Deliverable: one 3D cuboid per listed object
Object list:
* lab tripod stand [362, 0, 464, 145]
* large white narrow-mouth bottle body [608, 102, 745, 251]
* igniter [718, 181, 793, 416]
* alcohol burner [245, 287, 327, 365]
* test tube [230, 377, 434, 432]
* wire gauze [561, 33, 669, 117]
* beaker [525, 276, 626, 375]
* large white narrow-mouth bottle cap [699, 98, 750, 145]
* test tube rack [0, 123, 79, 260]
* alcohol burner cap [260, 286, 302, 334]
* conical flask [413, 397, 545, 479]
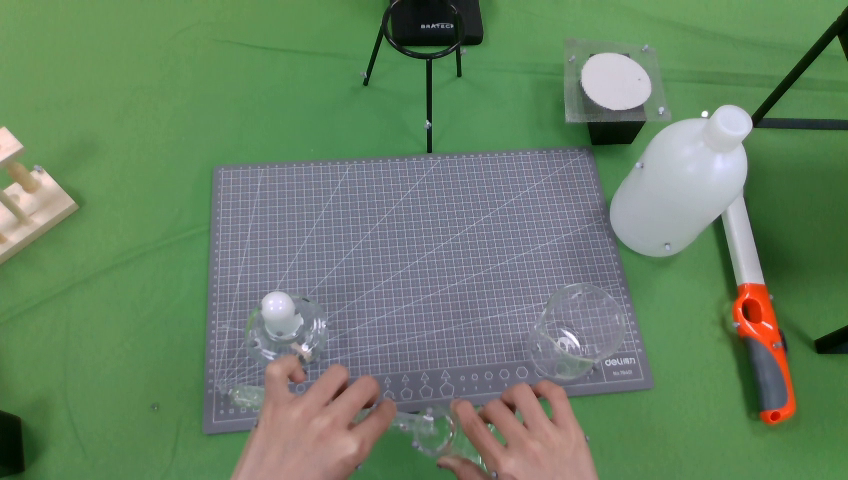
[{"bbox_3d":[-0.004,-0.205,0.697,0.148,0.132,0.147,2,66,-5],"label":"lab tripod stand"},{"bbox_3d":[0.265,-0.070,0.623,0.102,0.196,0.101,1,65,-3],"label":"large white narrow-mouth bottle body"},{"bbox_3d":[0.358,0.053,0.667,0.057,0.025,0.274,7,64,-13],"label":"igniter"},{"bbox_3d":[-0.131,0.075,0.568,0.078,0.120,0.077,3,64,-5],"label":"alcohol burner"},{"bbox_3d":[-0.066,0.121,0.446,0.150,0.017,0.017,12,65,-5],"label":"test tube"},{"bbox_3d":[0.225,-0.198,0.727,0.121,0.011,0.124,3,65,-3],"label":"wire gauze"},{"bbox_3d":[0.139,0.088,0.591,0.084,0.101,0.073,-7,65,-7],"label":"beaker"},{"bbox_3d":[0.270,-0.107,0.546,0.038,0.024,0.037,2,65,-3],"label":"large white narrow-mouth bottle cap"},{"bbox_3d":[-0.481,-0.001,0.593,0.066,0.086,0.242,41,69,14],"label":"test tube rack"},{"bbox_3d":[-0.128,0.060,0.535,0.034,0.048,0.033,1,60,-1],"label":"alcohol burner cap"},{"bbox_3d":[0.041,0.158,0.497,0.075,0.123,0.074,-18,58,31],"label":"conical flask"}]
